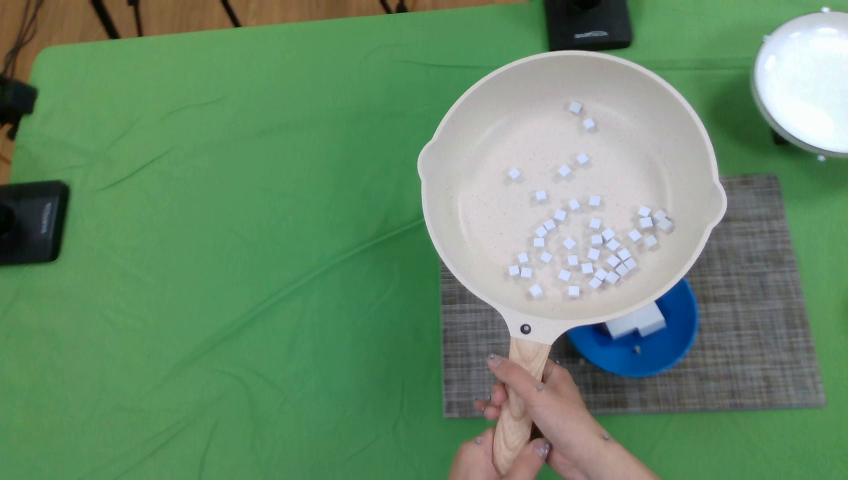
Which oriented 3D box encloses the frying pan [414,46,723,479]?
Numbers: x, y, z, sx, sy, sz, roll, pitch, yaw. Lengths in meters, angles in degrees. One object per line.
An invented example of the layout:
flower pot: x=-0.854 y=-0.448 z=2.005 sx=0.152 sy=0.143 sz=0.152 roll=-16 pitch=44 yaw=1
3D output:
frying pan: x=0.115 y=0.037 z=0.604 sx=0.306 sy=0.103 sz=0.485 roll=11 pitch=71 yaw=14

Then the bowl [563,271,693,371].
bowl: x=0.232 y=0.085 z=0.722 sx=0.151 sy=0.077 sz=0.150 roll=-1 pitch=72 yaw=4

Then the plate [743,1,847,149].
plate: x=0.512 y=-0.206 z=0.771 sx=0.207 sy=0.039 sz=0.206 roll=-1 pitch=73 yaw=5
